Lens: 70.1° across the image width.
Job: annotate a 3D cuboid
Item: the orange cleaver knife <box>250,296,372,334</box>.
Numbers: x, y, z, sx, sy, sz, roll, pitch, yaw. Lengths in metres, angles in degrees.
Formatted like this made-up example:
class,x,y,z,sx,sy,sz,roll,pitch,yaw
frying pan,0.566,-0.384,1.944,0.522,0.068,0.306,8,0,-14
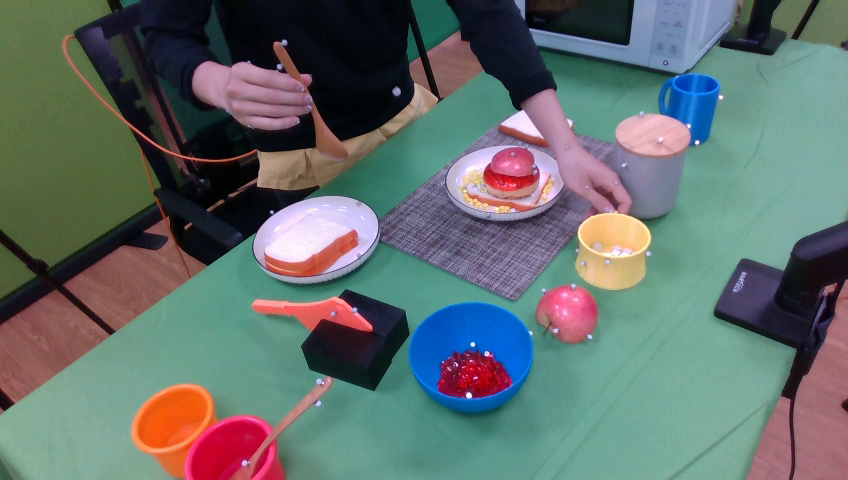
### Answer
class,x,y,z,sx,sy,sz,roll,pitch,yaw
orange cleaver knife,-0.159,0.103,0.828,0.210,0.078,0.012,-4,43,39

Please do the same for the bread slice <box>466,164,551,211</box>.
class,x,y,z,sx,sy,sz,roll,pitch,yaw
bread slice,0.140,-0.092,1.042,0.133,0.018,0.107,11,43,19

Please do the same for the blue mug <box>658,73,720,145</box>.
class,x,y,z,sx,sy,sz,roll,pitch,yaw
blue mug,0.483,-0.250,1.127,0.082,0.106,0.115,-26,44,-19

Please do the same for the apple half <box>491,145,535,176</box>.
class,x,y,z,sx,sy,sz,roll,pitch,yaw
apple half,0.147,-0.138,0.993,0.081,0.033,0.081,1,38,0

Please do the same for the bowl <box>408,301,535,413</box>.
class,x,y,z,sx,sy,sz,roll,pitch,yaw
bowl,0.060,0.156,0.739,0.151,0.077,0.150,-4,40,4

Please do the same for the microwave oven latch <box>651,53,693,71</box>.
class,x,y,z,sx,sy,sz,roll,pitch,yaw
microwave oven latch,0.532,-0.386,1.301,0.078,0.029,0.030,27,52,34

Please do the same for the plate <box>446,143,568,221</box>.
class,x,y,z,sx,sy,sz,roll,pitch,yaw
plate,0.142,-0.097,1.045,0.207,0.039,0.206,-4,41,4

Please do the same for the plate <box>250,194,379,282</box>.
class,x,y,z,sx,sy,sz,roll,pitch,yaw
plate,-0.174,-0.001,0.984,0.209,0.038,0.208,-3,40,3

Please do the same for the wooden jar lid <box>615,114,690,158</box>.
class,x,y,z,sx,sy,sz,roll,pitch,yaw
wooden jar lid,0.347,-0.155,0.923,0.108,0.021,0.108,-3,44,4

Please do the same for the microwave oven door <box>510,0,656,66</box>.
class,x,y,z,sx,sy,sz,roll,pitch,yaw
microwave oven door,0.350,-0.539,1.348,0.353,0.245,0.039,24,50,31

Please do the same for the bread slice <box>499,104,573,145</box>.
class,x,y,z,sx,sy,sz,roll,pitch,yaw
bread slice,0.231,-0.231,1.206,0.105,0.019,0.130,-37,47,-28

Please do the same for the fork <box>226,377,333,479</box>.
class,x,y,z,sx,sy,sz,roll,pitch,yaw
fork,-0.163,0.216,0.647,0.207,0.019,0.028,-49,42,16

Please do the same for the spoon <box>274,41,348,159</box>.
class,x,y,z,sx,sy,sz,roll,pitch,yaw
spoon,-0.145,-0.171,0.769,0.041,0.195,0.021,-2,49,19

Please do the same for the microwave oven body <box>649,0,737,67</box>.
class,x,y,z,sx,sy,sz,roll,pitch,yaw
microwave oven body,0.475,-0.602,1.411,0.438,0.261,0.327,23,50,32

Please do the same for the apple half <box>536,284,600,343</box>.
class,x,y,z,sx,sy,sz,roll,pitch,yaw
apple half,0.196,0.091,0.815,0.075,0.053,0.080,-22,42,-20

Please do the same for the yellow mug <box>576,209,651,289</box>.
class,x,y,z,sx,sy,sz,roll,pitch,yaw
yellow mug,0.279,0.004,0.893,0.099,0.064,0.130,5,41,14

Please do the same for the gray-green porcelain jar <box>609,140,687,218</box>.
class,x,y,z,sx,sy,sz,roll,pitch,yaw
gray-green porcelain jar,0.354,-0.107,0.964,0.106,0.127,0.105,-4,41,4

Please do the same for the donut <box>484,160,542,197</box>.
class,x,y,z,sx,sy,sz,roll,pitch,yaw
donut,0.149,-0.110,1.016,0.099,0.048,0.098,-4,40,4
